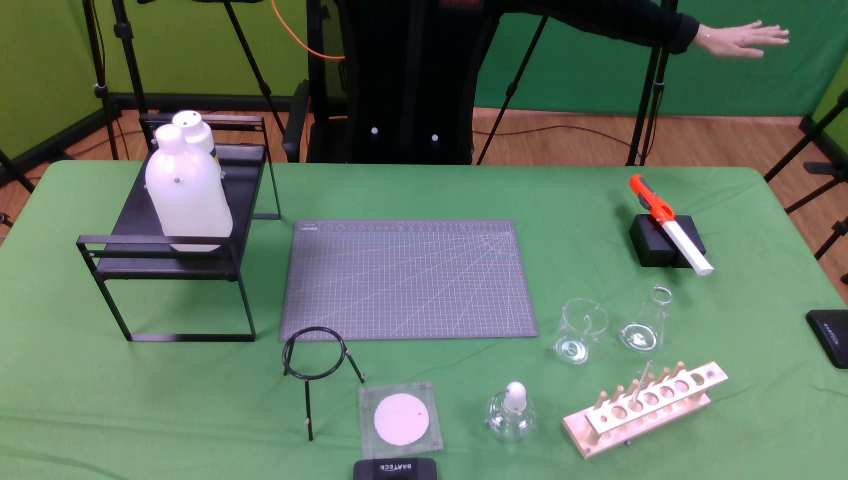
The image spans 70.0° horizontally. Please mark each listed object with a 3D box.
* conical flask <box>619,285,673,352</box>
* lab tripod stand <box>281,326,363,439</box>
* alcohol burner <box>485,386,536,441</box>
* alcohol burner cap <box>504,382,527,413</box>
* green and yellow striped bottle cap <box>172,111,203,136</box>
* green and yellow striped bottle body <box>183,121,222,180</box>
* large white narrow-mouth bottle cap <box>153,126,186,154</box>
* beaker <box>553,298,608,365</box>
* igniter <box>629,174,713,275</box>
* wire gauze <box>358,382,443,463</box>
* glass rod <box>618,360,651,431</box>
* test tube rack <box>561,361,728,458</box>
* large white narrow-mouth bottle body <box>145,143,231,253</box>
[{"bbox_3d":[0.385,0.130,1.031,0.075,0.122,0.075,2,46,-2],"label":"conical flask"},{"bbox_3d":[-0.166,0.203,0.913,0.148,0.132,0.147,1,47,-1],"label":"lab tripod stand"},{"bbox_3d":[0.131,0.249,0.904,0.078,0.120,0.077,1,48,-1],"label":"alcohol burner"},{"bbox_3d":[0.133,0.225,0.877,0.034,0.048,0.033,-5,47,5],"label":"alcohol burner cap"},{"bbox_3d":[-0.374,-0.185,0.958,0.045,0.020,0.045,3,46,-3],"label":"green and yellow striped bottle cap"},{"bbox_3d":[-0.375,-0.149,0.995,0.063,0.120,0.063,2,46,-2],"label":"green and yellow striped bottle body"},{"bbox_3d":[-0.340,-0.135,0.812,0.038,0.024,0.037,2,48,-2],"label":"large white narrow-mouth bottle cap"},{"bbox_3d":[0.260,0.154,1.015,0.073,0.101,0.084,37,54,27],"label":"beaker"},{"bbox_3d":[0.481,-0.040,1.202,0.057,0.025,0.274,-2,46,-21],"label":"igniter"},{"bbox_3d":[-0.039,0.277,0.937,0.121,0.011,0.124,-4,47,-7],"label":"wire gauze"},{"bbox_3d":[0.298,0.227,0.865,0.008,0.201,0.008,-1,47,2],"label":"glass rod"},{"bbox_3d":[0.341,0.248,0.940,0.243,0.085,0.066,-15,49,-18],"label":"test tube rack"},{"bbox_3d":[-0.345,-0.076,0.877,0.102,0.195,0.101,2,48,-2],"label":"large white narrow-mouth bottle body"}]
